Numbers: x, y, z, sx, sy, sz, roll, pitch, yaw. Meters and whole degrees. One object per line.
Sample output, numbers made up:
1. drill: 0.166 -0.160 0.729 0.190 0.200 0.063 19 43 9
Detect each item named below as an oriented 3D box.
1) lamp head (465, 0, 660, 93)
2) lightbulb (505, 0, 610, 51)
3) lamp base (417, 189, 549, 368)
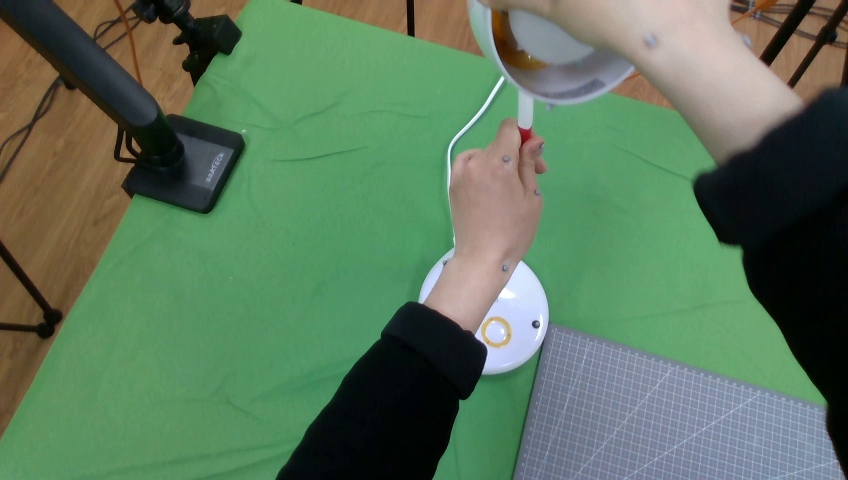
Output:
1. lamp head: 0.075 -0.158 0.395 0.113 0.122 0.113 -4 111 -11
2. lightbulb: 0.074 -0.152 0.371 0.059 0.060 0.106 -5 29 -6
3. lamp base: 0.070 0.035 0.667 0.161 0.181 0.177 -23 68 -13
